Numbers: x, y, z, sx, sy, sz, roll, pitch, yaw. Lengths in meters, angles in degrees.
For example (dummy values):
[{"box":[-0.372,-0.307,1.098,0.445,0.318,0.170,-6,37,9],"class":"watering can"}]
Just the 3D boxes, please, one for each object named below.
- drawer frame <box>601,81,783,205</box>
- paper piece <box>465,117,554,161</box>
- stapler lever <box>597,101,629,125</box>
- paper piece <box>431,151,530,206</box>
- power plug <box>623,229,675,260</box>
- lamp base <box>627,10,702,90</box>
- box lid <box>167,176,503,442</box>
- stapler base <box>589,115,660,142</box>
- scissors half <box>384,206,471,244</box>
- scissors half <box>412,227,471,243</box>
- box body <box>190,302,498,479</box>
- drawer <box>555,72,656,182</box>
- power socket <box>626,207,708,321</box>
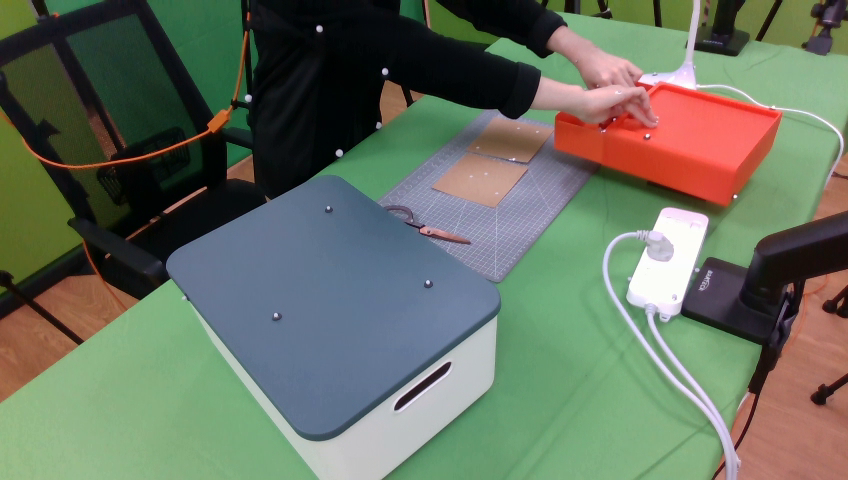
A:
[{"box":[0.436,-0.168,0.995,0.212,0.083,0.202,27,51,32],"class":"drawer frame"},{"box":[0.171,-0.201,1.195,0.137,0.009,0.136,17,42,27],"class":"paper piece"},{"box":[0.360,-0.228,1.066,0.118,0.040,0.026,-11,40,-16],"class":"stapler lever"},{"box":[0.103,-0.116,1.104,0.135,0.004,0.136,20,47,28],"class":"paper piece"},{"box":[0.327,0.007,0.878,0.072,0.053,0.035,25,51,33],"class":"power plug"},{"box":[0.484,-0.364,1.211,0.180,0.181,0.159,-15,41,-14],"class":"lamp base"},{"box":[-0.119,0.047,0.714,0.264,0.015,0.368,-32,47,-27],"class":"box lid"},{"box":[0.359,-0.205,1.082,0.131,0.024,0.041,-13,40,-14],"class":"stapler base"},{"box":[0.001,-0.024,1.005,0.174,0.013,0.040,22,58,25],"class":"scissors half"},{"box":[-0.007,-0.010,0.993,0.174,0.013,0.040,8,47,15],"class":"scissors half"},{"box":[-0.110,0.103,0.761,0.255,0.161,0.361,-33,46,-27],"class":"box body"},{"box":[0.365,-0.200,1.047,0.210,0.073,0.195,27,50,33],"class":"drawer"},{"box":[0.360,0.026,0.886,0.072,0.033,0.227,16,46,26],"class":"power socket"}]
